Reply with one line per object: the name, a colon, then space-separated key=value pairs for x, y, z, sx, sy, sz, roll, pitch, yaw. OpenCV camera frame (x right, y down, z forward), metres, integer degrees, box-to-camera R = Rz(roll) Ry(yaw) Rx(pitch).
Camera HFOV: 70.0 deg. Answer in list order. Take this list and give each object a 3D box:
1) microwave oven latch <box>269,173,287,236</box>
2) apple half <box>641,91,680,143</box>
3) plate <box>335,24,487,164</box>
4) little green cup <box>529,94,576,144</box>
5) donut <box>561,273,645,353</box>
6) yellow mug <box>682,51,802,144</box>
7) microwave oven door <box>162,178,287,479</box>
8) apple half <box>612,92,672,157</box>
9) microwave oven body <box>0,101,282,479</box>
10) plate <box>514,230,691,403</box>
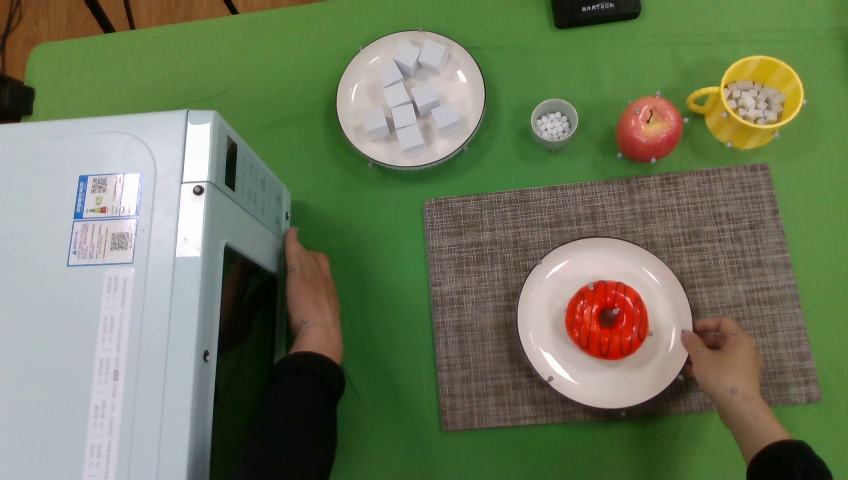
microwave oven latch: x=-0.197 y=-0.046 z=0.799 sx=0.030 sy=0.029 sz=0.079 roll=-1 pitch=77 yaw=5
apple half: x=0.306 y=-0.161 z=0.780 sx=0.033 sy=0.082 sz=0.081 roll=-33 pitch=75 yaw=1
plate: x=-0.017 y=-0.199 z=0.839 sx=0.207 sy=0.039 sz=0.206 roll=-1 pitch=76 yaw=5
little green cup: x=0.171 y=-0.160 z=0.812 sx=0.061 sy=0.039 sz=0.061 roll=-1 pitch=75 yaw=6
donut: x=0.215 y=0.088 z=0.730 sx=0.099 sy=0.048 sz=0.098 roll=-1 pitch=78 yaw=5
yellow mug: x=0.402 y=-0.183 z=0.781 sx=0.130 sy=0.064 sz=0.099 roll=5 pitch=76 yaw=8
microwave oven door: x=-0.204 y=0.140 z=0.648 sx=0.039 sy=0.245 sz=0.354 roll=-3 pitch=75 yaw=5
apple half: x=0.272 y=-0.140 z=0.779 sx=0.053 sy=0.075 sz=0.080 roll=-32 pitch=79 yaw=2
microwave oven body: x=-0.350 y=0.108 z=0.676 sx=0.326 sy=0.261 sz=0.439 roll=-3 pitch=76 yaw=4
plate: x=0.214 y=0.092 z=0.741 sx=0.209 sy=0.038 sz=0.208 roll=-1 pitch=76 yaw=5
